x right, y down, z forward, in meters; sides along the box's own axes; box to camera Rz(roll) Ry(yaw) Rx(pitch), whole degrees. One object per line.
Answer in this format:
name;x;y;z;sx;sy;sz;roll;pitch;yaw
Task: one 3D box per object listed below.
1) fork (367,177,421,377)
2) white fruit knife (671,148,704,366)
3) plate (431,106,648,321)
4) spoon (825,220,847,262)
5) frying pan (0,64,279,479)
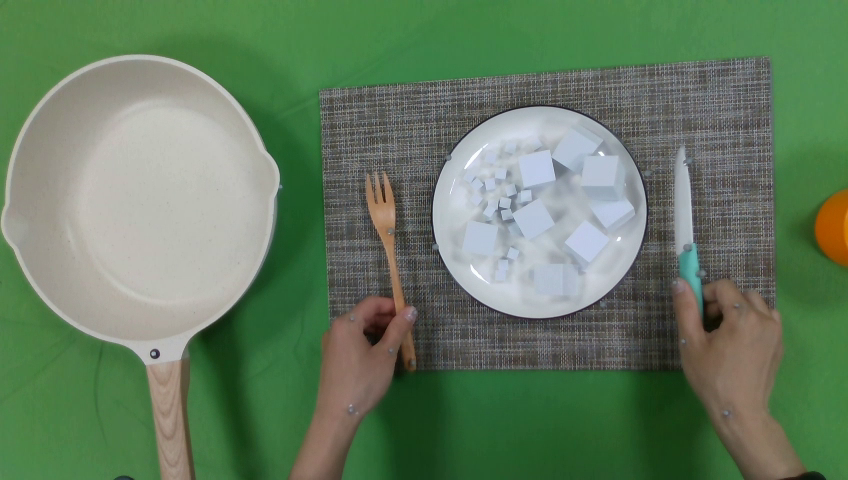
fork;-0.028;0.037;0.618;0.028;0.019;0.207;-13;84;21
white fruit knife;0.247;0.015;0.573;0.016;0.027;0.207;0;85;-24
plate;0.111;-0.025;0.599;0.207;0.039;0.207;0;92;8
spoon;0.435;-0.028;0.503;0.021;0.194;0.041;-35;88;-37
frying pan;-0.272;0.070;0.624;0.306;0.103;0.486;-10;82;9
